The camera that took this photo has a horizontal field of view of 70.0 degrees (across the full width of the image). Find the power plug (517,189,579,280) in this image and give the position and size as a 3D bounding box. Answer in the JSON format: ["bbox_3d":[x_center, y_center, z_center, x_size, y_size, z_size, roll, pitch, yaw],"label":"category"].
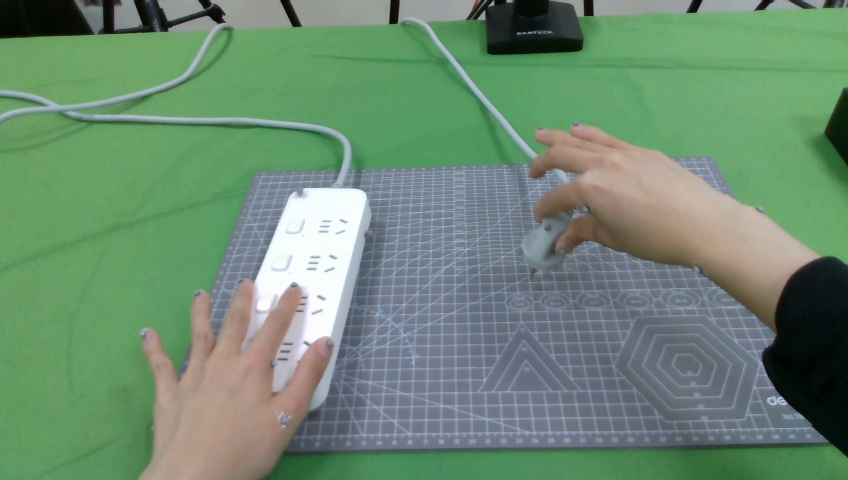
[{"bbox_3d":[0.103,0.000,0.471,0.072,0.053,0.035,-30,57,-31],"label":"power plug"}]

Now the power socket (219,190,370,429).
[{"bbox_3d":[-0.093,0.037,0.472,0.072,0.033,0.224,2,44,5],"label":"power socket"}]
